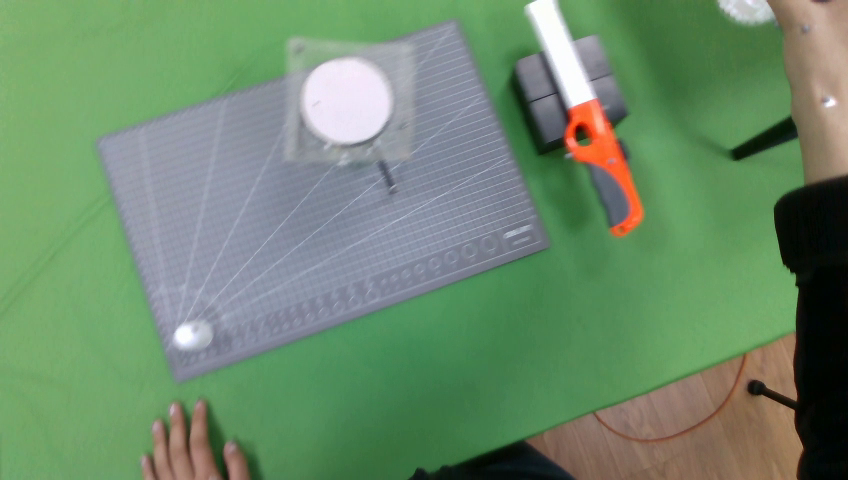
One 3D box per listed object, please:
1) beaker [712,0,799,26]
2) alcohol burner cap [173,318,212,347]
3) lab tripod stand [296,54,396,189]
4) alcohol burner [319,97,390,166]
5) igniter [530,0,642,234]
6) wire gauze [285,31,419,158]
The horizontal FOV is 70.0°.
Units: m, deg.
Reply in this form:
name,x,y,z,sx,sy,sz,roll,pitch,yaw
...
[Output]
name,x,y,z,sx,sy,sz,roll,pitch,yaw
beaker,0.281,-0.224,0.482,0.084,0.100,0.074,18,83,-2
alcohol burner cap,-0.253,0.100,0.654,0.034,0.048,0.034,0,82,-3
lab tripod stand,-0.073,-0.132,0.642,0.148,0.132,0.148,0,81,-1
alcohol burner,-0.076,-0.121,0.651,0.078,0.119,0.077,0,85,-2
igniter,0.177,-0.140,0.663,0.057,0.025,0.275,-19,84,1
wire gauze,-0.068,-0.139,0.576,0.121,0.011,0.124,3,82,-2
